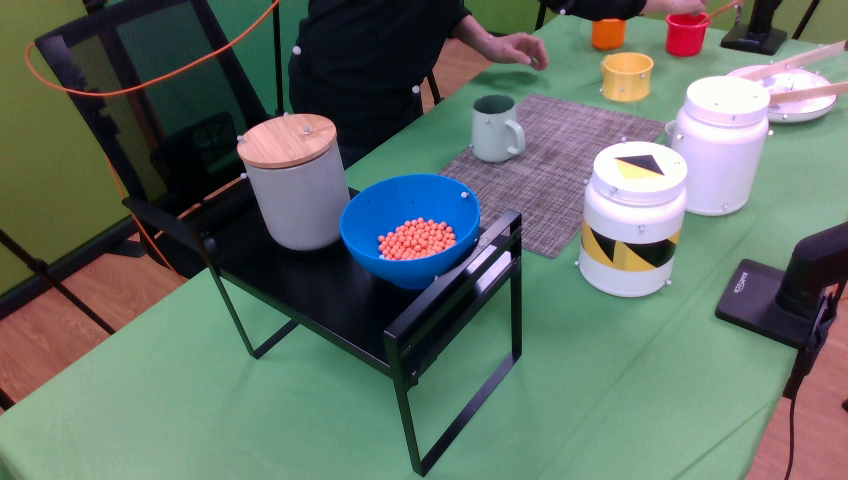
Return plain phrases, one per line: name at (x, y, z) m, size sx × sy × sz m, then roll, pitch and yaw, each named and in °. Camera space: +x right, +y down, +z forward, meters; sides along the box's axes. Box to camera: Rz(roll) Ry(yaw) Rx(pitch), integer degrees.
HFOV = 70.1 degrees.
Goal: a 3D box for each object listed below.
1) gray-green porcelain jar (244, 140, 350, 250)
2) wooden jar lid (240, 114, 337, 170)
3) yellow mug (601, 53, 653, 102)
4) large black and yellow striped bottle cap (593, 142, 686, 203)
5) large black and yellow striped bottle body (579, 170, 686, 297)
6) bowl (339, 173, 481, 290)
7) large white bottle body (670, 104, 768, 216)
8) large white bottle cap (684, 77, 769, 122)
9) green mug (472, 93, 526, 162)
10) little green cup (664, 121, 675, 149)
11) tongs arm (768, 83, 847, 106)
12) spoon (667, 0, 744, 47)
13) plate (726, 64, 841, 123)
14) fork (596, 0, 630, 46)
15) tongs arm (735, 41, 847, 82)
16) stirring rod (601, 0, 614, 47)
gray-green porcelain jar at (-0.144, -0.060, 0.714) m, size 0.106 × 0.127 × 0.105 m, roll -4°, pitch 41°, yaw 4°
wooden jar lid at (-0.149, -0.106, 0.673) m, size 0.108 × 0.021 × 0.108 m, roll -6°, pitch 38°, yaw 5°
yellow mug at (0.423, -0.354, 1.293) m, size 0.100 × 0.064 × 0.129 m, roll -23°, pitch 42°, yaw -16°
large black and yellow striped bottle cap at (0.280, -0.090, 0.786) m, size 0.115 × 0.019 × 0.114 m, roll -5°, pitch 41°, yaw 5°
large black and yellow striped bottle body at (0.287, -0.027, 0.841) m, size 0.131 × 0.185 × 0.130 m, roll -4°, pitch 40°, yaw 4°
bowl at (-0.011, 0.001, 0.660) m, size 0.151 × 0.077 × 0.150 m, roll -5°, pitch 41°, yaw 5°
large white bottle body at (0.458, -0.146, 0.952) m, size 0.130 × 0.185 × 0.130 m, roll -4°, pitch 40°, yaw 4°
large white bottle cap at (0.448, -0.209, 0.898) m, size 0.115 × 0.018 × 0.114 m, roll -4°, pitch 40°, yaw 4°
green mug at (0.144, -0.202, 1.122) m, size 0.093 × 0.105 × 0.124 m, roll -29°, pitch 45°, yaw -23°
little green cup at (0.472, -0.188, 1.113) m, size 0.061 × 0.039 × 0.061 m, roll -5°, pitch 40°, yaw 4°
tongs arm at (0.738, -0.281, 1.134) m, size 0.388 × 0.028 × 0.028 m, roll -9°, pitch 47°, yaw -5°
spoon at (0.634, -0.491, 1.358) m, size 0.193 × 0.022 × 0.041 m, roll -34°, pitch 18°, yaw 46°
plate at (0.695, -0.282, 1.189) m, size 0.207 × 0.039 × 0.206 m, roll -4°, pitch 40°, yaw 4°
fork at (0.481, -0.556, 1.452) m, size 0.028 × 0.019 × 0.207 m, roll 40°, pitch 103°, yaw 39°
tongs arm at (0.712, -0.332, 1.194) m, size 0.386 × 0.026 × 0.050 m, roll -18°, pitch 45°, yaw -16°
stirring rod at (0.439, -0.552, 1.463) m, size 0.014 × 0.006 × 0.175 m, roll -7°, pitch 83°, yaw 2°
